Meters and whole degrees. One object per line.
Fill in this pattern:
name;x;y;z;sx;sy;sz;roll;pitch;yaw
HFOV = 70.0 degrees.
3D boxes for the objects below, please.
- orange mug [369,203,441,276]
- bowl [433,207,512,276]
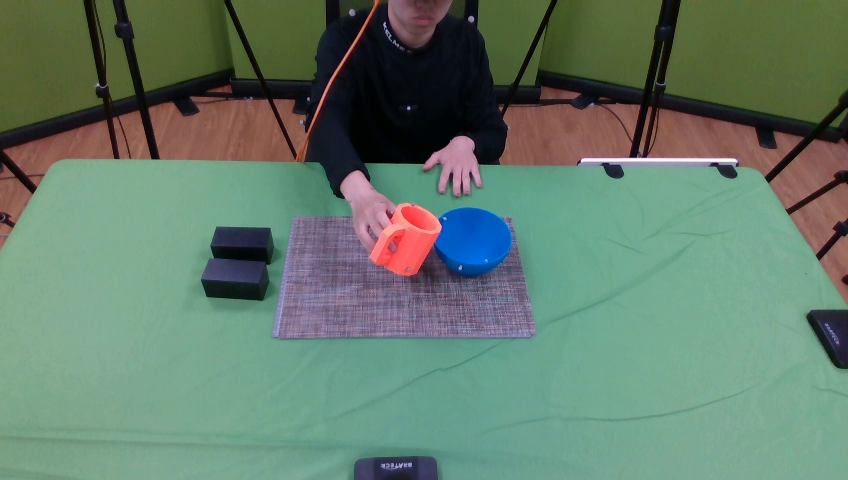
orange mug;-0.039;0.001;1.037;0.083;0.101;0.126;41;26;21
bowl;0.086;0.016;1.147;0.151;0.077;0.150;2;46;-2
